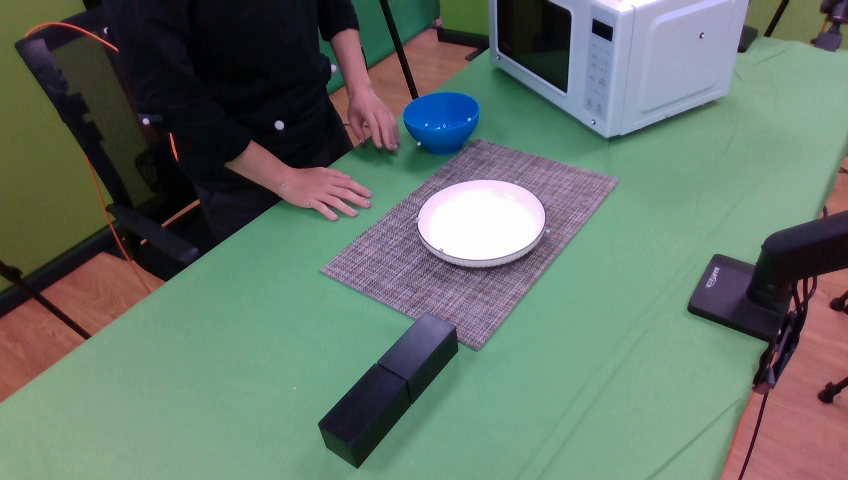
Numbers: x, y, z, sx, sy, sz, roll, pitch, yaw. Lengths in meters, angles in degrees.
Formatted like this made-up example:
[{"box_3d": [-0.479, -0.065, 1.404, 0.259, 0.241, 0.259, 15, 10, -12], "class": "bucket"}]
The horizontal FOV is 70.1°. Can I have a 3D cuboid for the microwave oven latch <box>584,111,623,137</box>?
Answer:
[{"box_3d": [0.337, -0.222, 1.142, 0.030, 0.029, 0.078, -21, 42, -14], "class": "microwave oven latch"}]

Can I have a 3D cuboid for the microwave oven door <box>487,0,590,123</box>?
[{"box_3d": [0.232, -0.420, 1.231, 0.039, 0.245, 0.352, -22, 43, -16], "class": "microwave oven door"}]

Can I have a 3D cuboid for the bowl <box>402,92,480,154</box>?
[{"box_3d": [0.036, -0.220, 1.180, 0.151, 0.077, 0.150, -4, 40, 4], "class": "bowl"}]

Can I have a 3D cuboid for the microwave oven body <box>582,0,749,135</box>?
[{"box_3d": [0.382, -0.444, 1.246, 0.327, 0.261, 0.437, -22, 42, -16], "class": "microwave oven body"}]

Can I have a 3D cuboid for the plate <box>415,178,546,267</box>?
[{"box_3d": [0.091, -0.026, 0.970, 0.207, 0.039, 0.206, -4, 41, 4], "class": "plate"}]
